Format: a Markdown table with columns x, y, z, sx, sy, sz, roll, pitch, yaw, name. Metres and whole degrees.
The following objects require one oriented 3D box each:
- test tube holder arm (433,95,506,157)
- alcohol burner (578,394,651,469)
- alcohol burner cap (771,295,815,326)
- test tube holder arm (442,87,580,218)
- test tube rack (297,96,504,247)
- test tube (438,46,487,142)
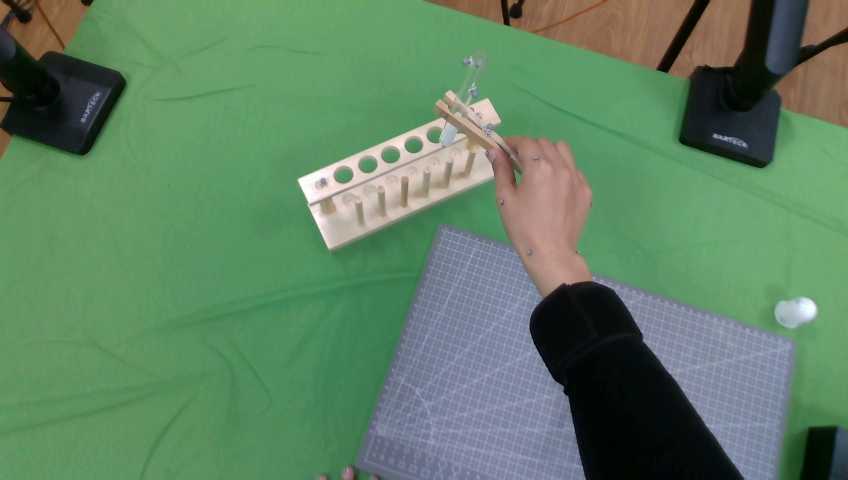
| x | y | z | sx | sy | sz | roll | pitch | yaw | name |
| --- | --- | --- | --- | --- | --- | --- | --- | --- | --- |
| 0.046 | -0.111 | 0.594 | 0.087 | 0.015 | 0.010 | 36 | 73 | 6 | test tube holder arm |
| 0.204 | 0.199 | 0.631 | 0.078 | 0.119 | 0.077 | 1 | 72 | -4 | alcohol burner |
| 0.440 | 0.082 | 0.717 | 0.034 | 0.048 | 0.033 | 1 | 73 | -2 | alcohol burner cap |
| 0.083 | -0.086 | 0.590 | 0.178 | 0.015 | 0.013 | 43 | 74 | 8 | test tube holder arm |
| -0.020 | -0.080 | 0.722 | 0.242 | 0.085 | 0.066 | -24 | 75 | -10 | test tube rack |
| 0.034 | -0.134 | 0.583 | 0.017 | 0.151 | 0.017 | 3 | 70 | -9 | test tube |
